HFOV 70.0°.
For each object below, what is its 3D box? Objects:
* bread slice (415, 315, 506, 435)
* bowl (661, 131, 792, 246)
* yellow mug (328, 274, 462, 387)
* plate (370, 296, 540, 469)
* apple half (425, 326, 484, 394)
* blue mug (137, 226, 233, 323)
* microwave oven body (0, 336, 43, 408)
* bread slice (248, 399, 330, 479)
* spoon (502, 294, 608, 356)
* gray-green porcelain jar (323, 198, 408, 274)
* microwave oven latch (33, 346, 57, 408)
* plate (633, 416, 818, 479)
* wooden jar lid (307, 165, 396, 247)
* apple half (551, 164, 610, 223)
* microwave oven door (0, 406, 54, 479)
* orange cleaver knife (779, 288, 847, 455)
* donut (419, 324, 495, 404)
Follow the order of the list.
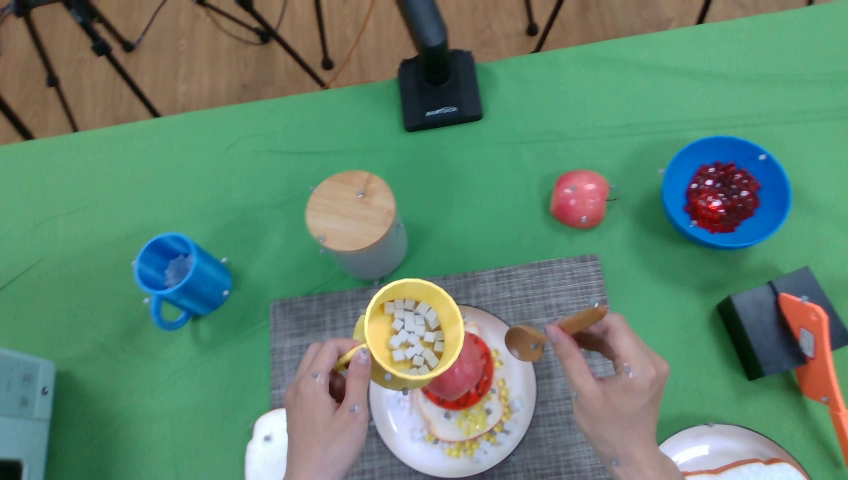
[{"bbox_3d":[0.042,0.171,0.751,0.107,0.018,0.133,-24,70,-2],"label":"bread slice"},{"bbox_3d":[0.373,-0.054,0.774,0.151,0.077,0.150,-2,71,6],"label":"bowl"},{"bbox_3d":[-0.032,0.096,0.594,0.131,0.064,0.099,-21,77,-23],"label":"yellow mug"},{"bbox_3d":[0.038,0.174,0.751,0.207,0.039,0.206,-2,71,6],"label":"plate"},{"bbox_3d":[0.030,0.136,0.696,0.081,0.033,0.080,-5,69,12],"label":"apple half"},{"bbox_3d":[-0.319,0.053,0.804,0.082,0.106,0.116,12,72,11],"label":"blue mug"},{"bbox_3d":[-0.646,0.333,0.656,0.326,0.262,0.438,-8,70,4],"label":"microwave oven body"},{"bbox_3d":[-0.170,0.266,0.755,0.105,0.019,0.130,-1,72,5],"label":"bread slice"},{"bbox_3d":[0.111,0.077,0.531,0.021,0.194,0.041,-37,84,-19],"label":"spoon"},{"bbox_3d":[-0.077,-0.018,0.789,0.106,0.127,0.105,-2,70,6],"label":"gray-green porcelain jar"},{"bbox_3d":[-0.507,0.180,0.797,0.030,0.030,0.078,-4,71,5],"label":"microwave oven latch"},{"bbox_3d":[0.334,0.304,0.672,0.209,0.038,0.207,-2,70,7],"label":"plate"},{"bbox_3d":[-0.086,-0.039,0.730,0.108,0.021,0.107,-2,68,4],"label":"wooden jar lid"},{"bbox_3d":[0.211,-0.068,0.812,0.074,0.054,0.080,13,73,14],"label":"apple half"},{"bbox_3d":[-0.498,0.350,0.627,0.039,0.245,0.353,-8,69,5],"label":"microwave oven door"},{"bbox_3d":[0.452,0.156,0.687,0.012,0.077,0.211,-18,91,-7],"label":"orange cleaver knife"},{"bbox_3d":[0.037,0.148,0.730,0.099,0.048,0.098,-2,71,7],"label":"donut"}]
